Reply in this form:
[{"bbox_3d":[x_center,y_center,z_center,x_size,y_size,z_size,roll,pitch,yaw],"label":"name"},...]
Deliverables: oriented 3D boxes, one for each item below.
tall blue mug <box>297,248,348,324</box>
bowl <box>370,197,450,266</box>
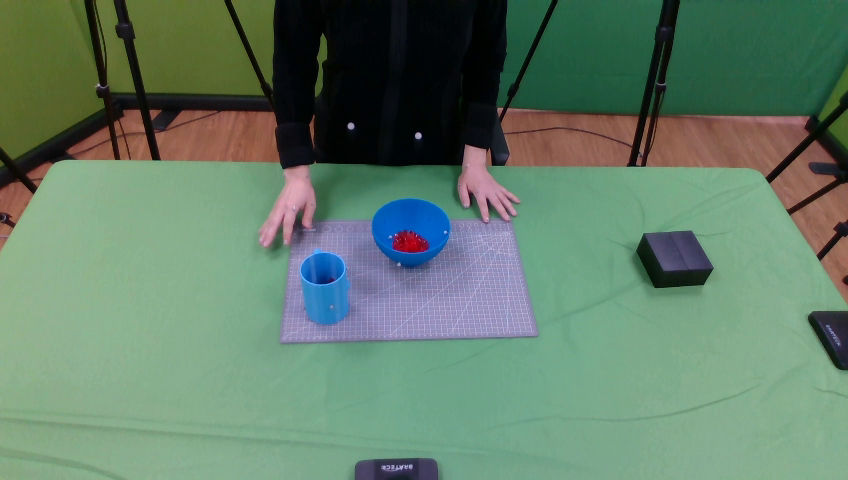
[{"bbox_3d":[-0.183,0.075,1.047,0.106,0.108,0.078,37,55,27],"label":"tall blue mug"},{"bbox_3d":[-0.028,-0.003,1.156,0.151,0.077,0.150,2,46,-2],"label":"bowl"}]
